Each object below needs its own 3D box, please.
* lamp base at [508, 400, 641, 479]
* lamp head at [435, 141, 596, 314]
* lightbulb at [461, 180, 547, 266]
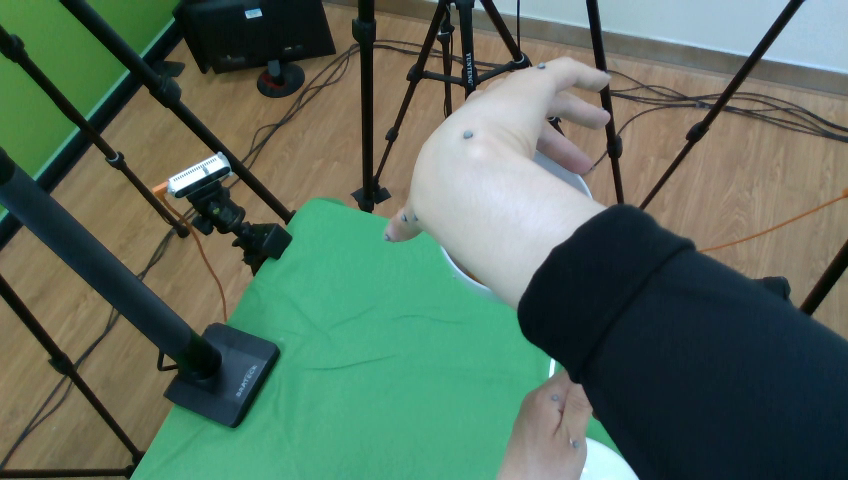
[{"bbox_3d":[0.161,0.250,0.631,0.161,0.182,0.177,-18,55,-4],"label":"lamp base"},{"bbox_3d":[0.069,0.003,0.466,0.112,0.124,0.111,-3,67,6],"label":"lamp head"},{"bbox_3d":[0.058,-0.006,0.444,0.059,0.108,0.059,-1,76,6],"label":"lightbulb"}]
